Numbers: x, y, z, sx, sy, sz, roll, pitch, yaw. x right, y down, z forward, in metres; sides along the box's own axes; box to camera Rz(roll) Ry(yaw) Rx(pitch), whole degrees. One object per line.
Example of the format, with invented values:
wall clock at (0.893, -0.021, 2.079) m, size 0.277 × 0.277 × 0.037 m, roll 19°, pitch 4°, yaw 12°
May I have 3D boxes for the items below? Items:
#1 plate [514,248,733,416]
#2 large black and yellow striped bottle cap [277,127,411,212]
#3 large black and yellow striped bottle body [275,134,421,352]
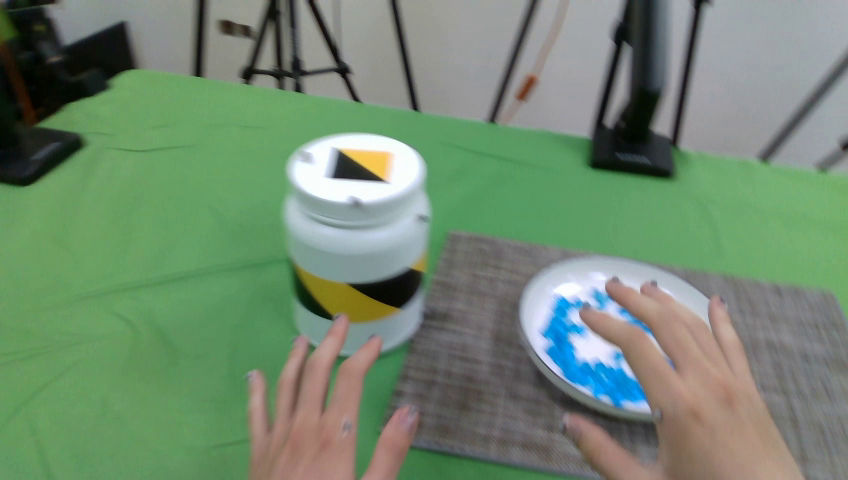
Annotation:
plate at (0.190, 0.088, 0.597) m, size 0.208 × 0.039 × 0.205 m, roll 2°, pitch 40°, yaw -1°
large black and yellow striped bottle cap at (-0.068, -0.064, 0.521) m, size 0.115 × 0.019 × 0.114 m, roll 3°, pitch 39°, yaw -2°
large black and yellow striped bottle body at (-0.069, 0.002, 0.575) m, size 0.131 × 0.185 × 0.129 m, roll 2°, pitch 40°, yaw -1°
